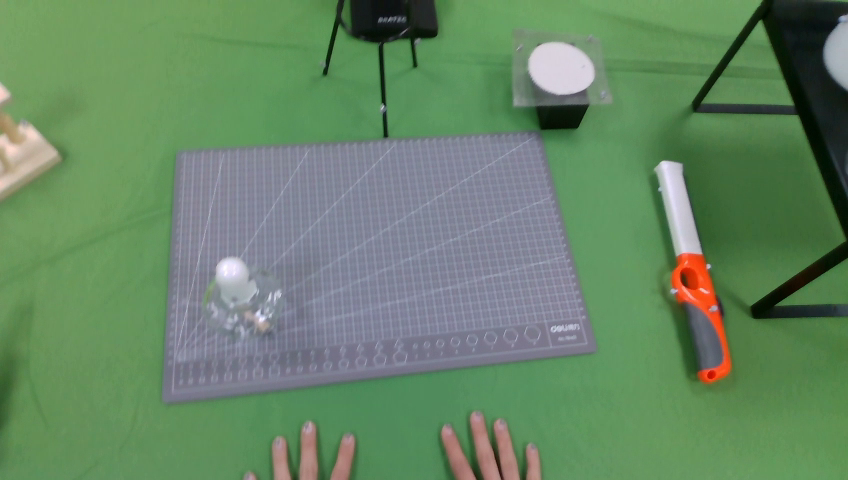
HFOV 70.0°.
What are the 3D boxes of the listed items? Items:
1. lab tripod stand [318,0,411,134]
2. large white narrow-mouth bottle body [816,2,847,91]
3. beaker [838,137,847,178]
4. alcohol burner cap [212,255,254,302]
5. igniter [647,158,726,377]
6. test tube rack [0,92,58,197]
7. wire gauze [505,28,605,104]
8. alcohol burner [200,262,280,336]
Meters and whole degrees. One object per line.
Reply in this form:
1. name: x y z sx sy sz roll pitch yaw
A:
1. lab tripod stand: -0.064 -0.226 0.737 0.148 0.132 0.147 3 63 -6
2. large white narrow-mouth bottle body: 0.464 -0.228 0.553 0.102 0.196 0.101 2 63 -4
3. beaker: 0.427 -0.092 0.534 0.084 0.101 0.073 15 62 3
4. alcohol burner cap: -0.179 0.034 0.560 0.034 0.048 0.033 1 59 -2
5. igniter: 0.303 0.024 0.706 0.057 0.025 0.274 6 62 -15
6. test tube rack: -0.528 -0.057 0.631 0.066 0.086 0.242 40 66 14
7. wire gauze: 0.164 -0.222 0.772 0.121 0.011 0.124 2 63 -4
8. alcohol burner: -0.182 0.050 0.592 0.078 0.120 0.077 3 61 -6
